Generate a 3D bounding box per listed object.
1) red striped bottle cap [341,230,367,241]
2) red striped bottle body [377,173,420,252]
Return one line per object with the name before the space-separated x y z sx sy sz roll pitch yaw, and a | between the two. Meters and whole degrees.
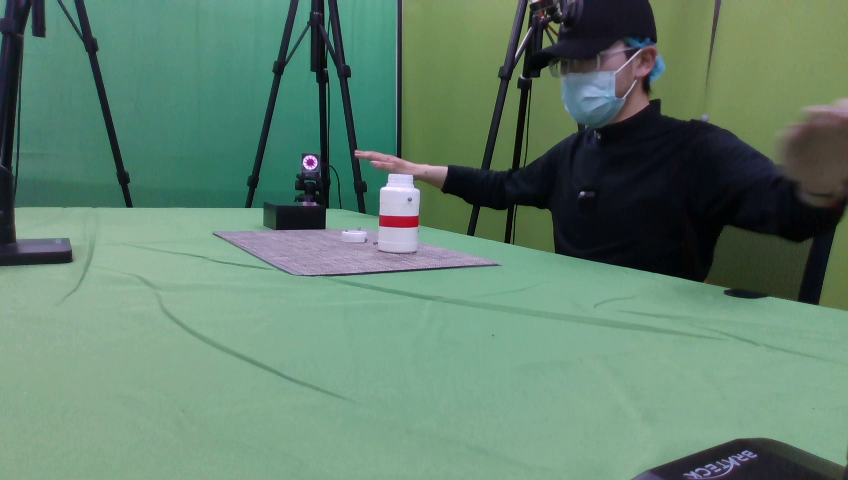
red striped bottle cap | -0.120 -0.008 1.034 0.044 0.017 0.044 -2 2 0
red striped bottle body | -0.039 -0.044 0.936 0.063 0.119 0.063 2 7 0
